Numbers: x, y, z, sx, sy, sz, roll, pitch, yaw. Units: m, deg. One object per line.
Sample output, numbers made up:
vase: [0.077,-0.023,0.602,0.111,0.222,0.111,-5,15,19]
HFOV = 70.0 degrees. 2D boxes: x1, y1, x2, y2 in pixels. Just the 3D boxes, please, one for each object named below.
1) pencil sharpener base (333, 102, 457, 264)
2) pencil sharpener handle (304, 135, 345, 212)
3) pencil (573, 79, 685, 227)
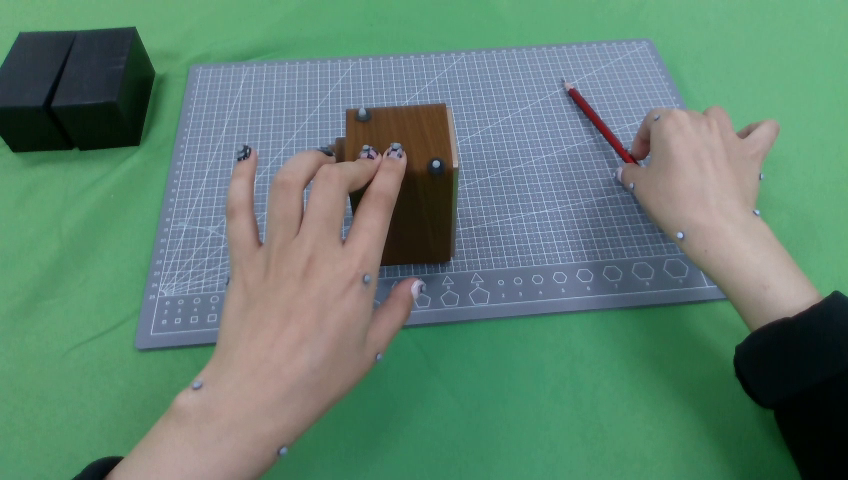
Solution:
pencil sharpener base: [-0.019,-0.035,0.419,0.077,0.108,0.061,-3,54,-2]
pencil sharpener handle: [-0.070,-0.040,0.408,0.030,0.068,0.035,-3,57,-2]
pencil: [0.166,-0.082,0.512,0.012,0.012,0.192,-12,51,-9]
